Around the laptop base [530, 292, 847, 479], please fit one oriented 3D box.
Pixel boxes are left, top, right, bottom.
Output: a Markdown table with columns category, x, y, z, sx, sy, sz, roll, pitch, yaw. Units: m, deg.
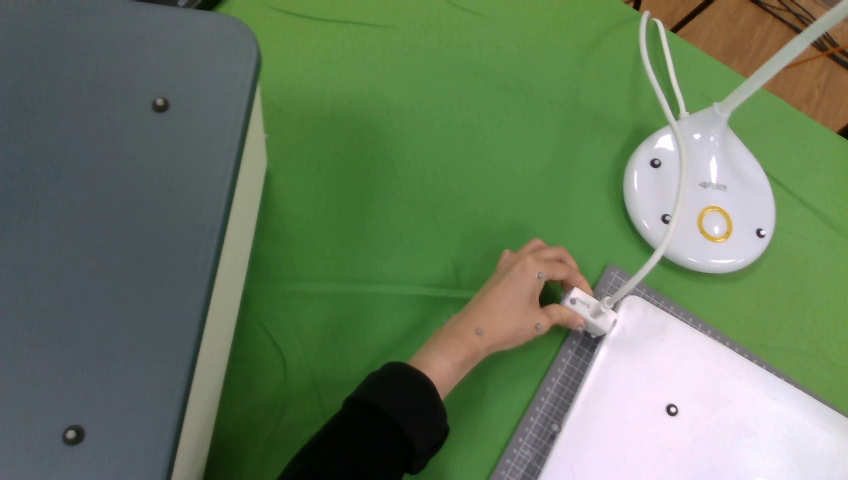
| category | x | y | z | sx | sy | sz | roll | pitch | yaw |
| --- | --- | --- | --- | --- | --- | --- | --- | --- | --- |
| laptop base | 0.272 | 0.225 | 0.510 | 0.354 | 0.023 | 0.234 | 30 | 71 | 3 |

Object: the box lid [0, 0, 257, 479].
| category | x | y | z | sx | sy | sz | roll | pitch | yaw |
| --- | --- | --- | --- | --- | --- | --- | --- | --- | --- |
| box lid | -0.256 | 0.000 | 0.350 | 0.264 | 0.015 | 0.369 | 7 | 69 | -7 |

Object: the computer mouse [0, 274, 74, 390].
| category | x | y | z | sx | sy | sz | roll | pitch | yaw |
| --- | --- | --- | --- | --- | --- | --- | --- | --- | --- |
| computer mouse | -0.307 | 0.063 | 0.452 | 0.063 | 0.041 | 0.116 | -20 | 34 | -6 |

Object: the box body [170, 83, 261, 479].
| category | x | y | z | sx | sy | sz | roll | pitch | yaw |
| --- | --- | --- | --- | --- | --- | --- | --- | --- | --- |
| box body | -0.267 | 0.029 | 0.417 | 0.255 | 0.161 | 0.361 | 7 | 68 | -7 |

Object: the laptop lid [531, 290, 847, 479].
| category | x | y | z | sx | sy | sz | roll | pitch | yaw |
| --- | --- | --- | --- | --- | --- | --- | --- | --- | --- |
| laptop lid | 0.272 | 0.222 | 0.498 | 0.356 | 0.013 | 0.241 | 32 | 70 | 4 |

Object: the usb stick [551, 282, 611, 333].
| category | x | y | z | sx | sy | sz | roll | pitch | yaw |
| --- | --- | --- | --- | --- | --- | --- | --- | --- | --- |
| usb stick | 0.145 | 0.064 | 0.536 | 0.059 | 0.027 | 0.021 | 35 | 67 | -1 |

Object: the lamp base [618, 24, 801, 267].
| category | x | y | z | sx | sy | sz | roll | pitch | yaw |
| --- | --- | --- | --- | --- | --- | --- | --- | --- | --- |
| lamp base | 0.281 | -0.087 | 0.543 | 0.161 | 0.181 | 0.177 | -4 | 67 | -11 |
